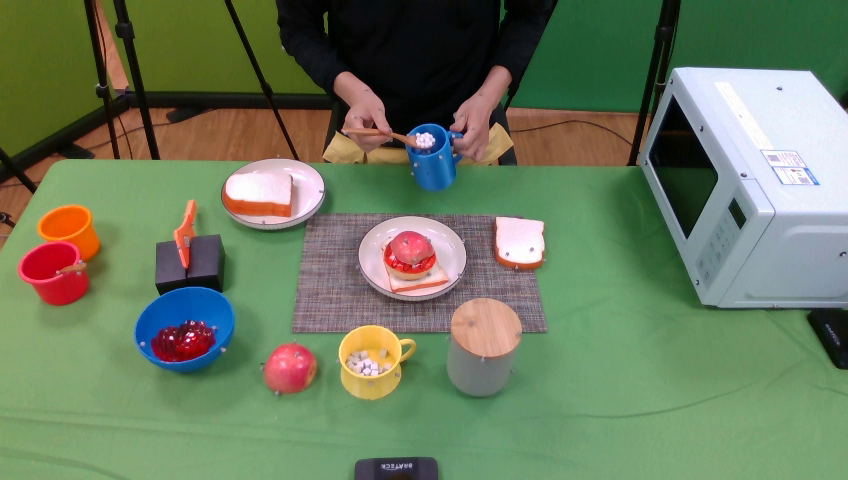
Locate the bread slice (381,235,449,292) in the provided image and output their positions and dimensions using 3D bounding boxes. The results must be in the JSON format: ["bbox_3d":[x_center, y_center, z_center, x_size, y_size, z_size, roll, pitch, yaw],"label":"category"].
[{"bbox_3d":[-0.027,0.039,1.141,0.107,0.018,0.133,-12,49,-16],"label":"bread slice"}]

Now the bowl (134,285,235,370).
[{"bbox_3d":[-0.377,0.155,0.981,0.151,0.077,0.150,2,46,-2],"label":"bowl"}]

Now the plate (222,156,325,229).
[{"bbox_3d":[-0.308,-0.095,1.251,0.209,0.038,0.208,2,46,-2],"label":"plate"}]

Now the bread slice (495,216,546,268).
[{"bbox_3d":[0.194,0.002,1.205,0.105,0.019,0.131,5,45,2],"label":"bread slice"}]

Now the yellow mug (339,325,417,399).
[{"bbox_3d":[-0.072,0.190,0.978,0.131,0.064,0.099,-17,50,-20],"label":"yellow mug"}]

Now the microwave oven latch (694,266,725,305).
[{"bbox_3d":[0.523,0.082,1.115,0.030,0.029,0.078,3,46,0],"label":"microwave oven latch"}]

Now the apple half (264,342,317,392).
[{"bbox_3d":[-0.214,0.198,0.970,0.074,0.053,0.080,19,48,10],"label":"apple half"}]

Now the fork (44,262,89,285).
[{"bbox_3d":[-0.598,0.054,1.014,0.207,0.019,0.028,-15,29,45],"label":"fork"}]

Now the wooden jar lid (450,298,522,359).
[{"bbox_3d":[0.093,0.135,0.914,0.108,0.021,0.107,2,48,-3],"label":"wooden jar lid"}]

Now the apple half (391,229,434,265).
[{"bbox_3d":[-0.021,0.003,1.085,0.081,0.033,0.081,7,44,-7],"label":"apple half"}]

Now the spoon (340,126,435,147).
[{"bbox_3d":[-0.061,-0.187,1.067,0.194,0.022,0.041,4,43,-39],"label":"spoon"}]

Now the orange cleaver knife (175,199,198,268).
[{"bbox_3d":[-0.438,-0.017,1.138,0.012,0.077,0.210,-13,27,-7],"label":"orange cleaver knife"}]

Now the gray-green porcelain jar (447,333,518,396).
[{"bbox_3d":[0.091,0.178,0.960,0.106,0.127,0.105,2,46,-2],"label":"gray-green porcelain jar"}]

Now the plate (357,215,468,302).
[{"bbox_3d":[-0.022,0.037,1.141,0.208,0.039,0.206,2,46,-2],"label":"plate"}]

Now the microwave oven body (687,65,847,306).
[{"bbox_3d":[0.669,-0.111,1.176,0.326,0.261,0.439,0,46,-3],"label":"microwave oven body"}]

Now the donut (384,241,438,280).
[{"bbox_3d":[-0.025,0.029,1.109,0.099,0.048,0.098,2,46,-2],"label":"donut"}]

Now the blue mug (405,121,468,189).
[{"bbox_3d":[0.030,-0.168,1.156,0.116,0.106,0.082,-25,57,-3],"label":"blue mug"}]

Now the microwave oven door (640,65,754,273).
[{"bbox_3d":[0.523,-0.147,1.193,0.039,0.245,0.353,0,47,-3],"label":"microwave oven door"}]
